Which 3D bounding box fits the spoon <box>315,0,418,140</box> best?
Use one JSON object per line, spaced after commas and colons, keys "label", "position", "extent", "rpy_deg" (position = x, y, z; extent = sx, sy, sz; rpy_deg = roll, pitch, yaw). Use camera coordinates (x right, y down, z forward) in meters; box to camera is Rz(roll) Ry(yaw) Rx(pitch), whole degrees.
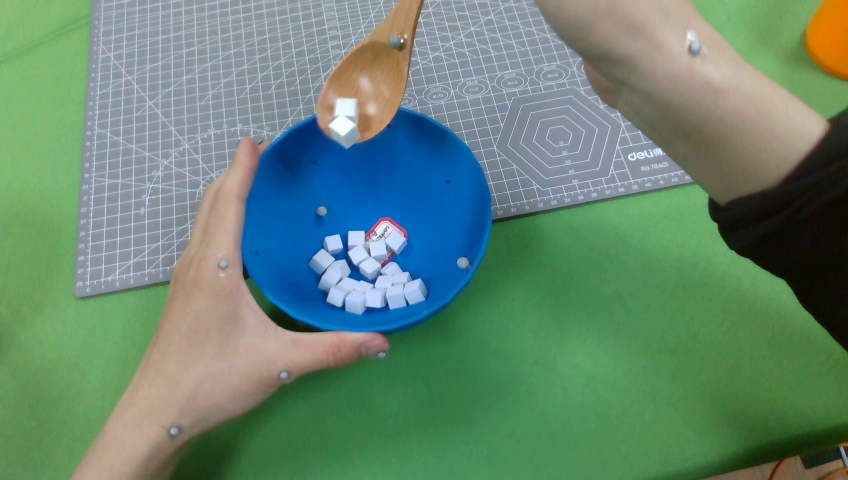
{"label": "spoon", "position": [0.004, -0.130, 0.275], "extent": [0.041, 0.021, 0.194], "rpy_deg": [38, 114, 11]}

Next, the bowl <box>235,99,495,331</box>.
{"label": "bowl", "position": [-0.033, -0.007, 0.387], "extent": [0.151, 0.077, 0.150], "rpy_deg": [0, 67, 1]}
